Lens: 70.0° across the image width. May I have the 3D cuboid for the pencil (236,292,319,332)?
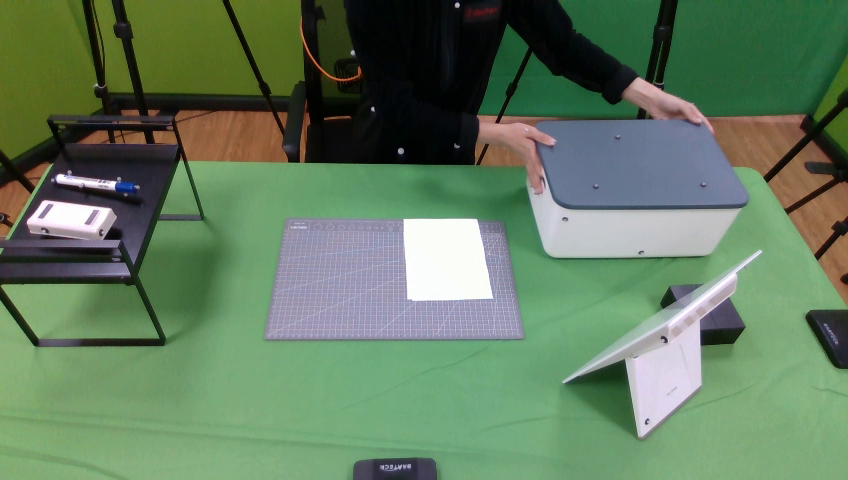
[{"bbox_3d":[-0.244,0.131,1.056,0.194,0.012,0.012,22,49,12],"label":"pencil"}]

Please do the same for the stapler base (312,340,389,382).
[{"bbox_3d":[-0.123,0.189,0.997,0.130,0.024,0.041,20,49,16],"label":"stapler base"}]

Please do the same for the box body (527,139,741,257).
[{"bbox_3d":[0.406,-0.101,1.228,0.364,0.161,0.252,-1,46,-5],"label":"box body"}]

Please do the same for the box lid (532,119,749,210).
[{"bbox_3d":[0.411,-0.153,1.174,0.372,0.015,0.261,-1,47,-4],"label":"box lid"}]

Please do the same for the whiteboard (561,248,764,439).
[{"bbox_3d":[0.386,0.176,0.905,0.217,0.306,0.143,-26,72,-27],"label":"whiteboard"}]

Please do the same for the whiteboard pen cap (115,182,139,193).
[{"bbox_3d":[-0.483,-0.086,0.984,0.033,0.018,0.018,7,46,10],"label":"whiteboard pen cap"}]

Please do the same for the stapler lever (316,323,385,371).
[{"bbox_3d":[-0.120,0.171,0.979,0.118,0.040,0.027,21,49,15],"label":"stapler lever"}]

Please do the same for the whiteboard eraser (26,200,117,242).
[{"bbox_3d":[-0.532,-0.026,0.919,0.113,0.042,0.055,7,45,3],"label":"whiteboard eraser"}]

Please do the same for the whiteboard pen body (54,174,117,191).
[{"bbox_3d":[-0.541,-0.093,0.993,0.140,0.017,0.017,7,46,9],"label":"whiteboard pen body"}]
